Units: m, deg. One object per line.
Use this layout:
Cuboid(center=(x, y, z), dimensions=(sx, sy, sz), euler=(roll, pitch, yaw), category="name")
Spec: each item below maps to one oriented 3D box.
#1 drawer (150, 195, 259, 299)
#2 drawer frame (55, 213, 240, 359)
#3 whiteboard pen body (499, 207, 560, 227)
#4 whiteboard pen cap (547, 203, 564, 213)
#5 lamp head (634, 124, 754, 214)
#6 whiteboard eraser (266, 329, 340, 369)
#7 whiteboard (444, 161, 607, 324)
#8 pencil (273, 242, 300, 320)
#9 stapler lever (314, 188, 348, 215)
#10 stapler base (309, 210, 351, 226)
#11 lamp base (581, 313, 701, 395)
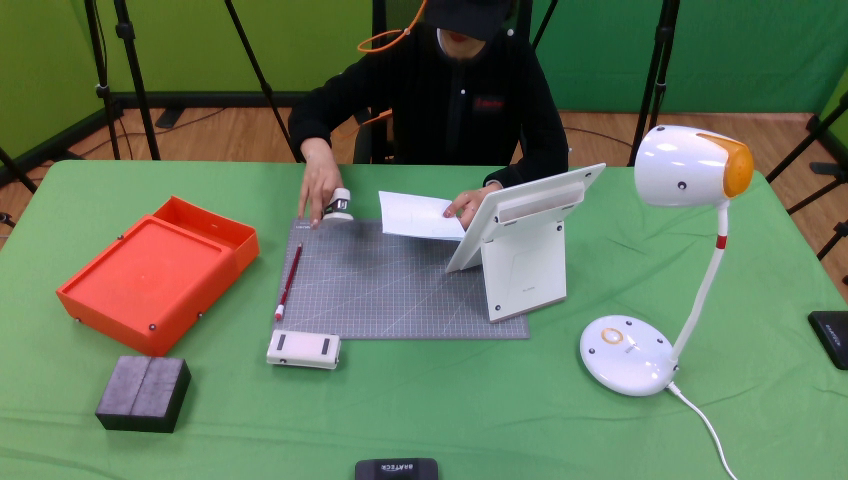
Cuboid(center=(-0.442, 0.033, 1.093), dimensions=(0.194, 0.073, 0.211), euler=(21, 49, 15), category="drawer")
Cuboid(center=(-0.469, 0.072, 1.050), dimensions=(0.201, 0.083, 0.213), euler=(21, 49, 14), category="drawer frame")
Cuboid(center=(0.222, -0.051, 1.260), dimensions=(0.141, 0.017, 0.017), euler=(-15, 49, -16), category="whiteboard pen body")
Cuboid(center=(0.277, -0.066, 1.275), dimensions=(0.033, 0.018, 0.018), euler=(-18, 50, -15), category="whiteboard pen cap")
Cuboid(center=(0.351, -0.089, 0.776), dimensions=(0.112, 0.113, 0.122), euler=(-30, 30, -28), category="lamp head")
Cuboid(center=(-0.198, 0.181, 0.994), dimensions=(0.113, 0.042, 0.055), euler=(5, 45, 1), category="whiteboard eraser")
Cuboid(center=(0.186, 0.025, 1.029), dimensions=(0.217, 0.306, 0.143), euler=(-15, 68, -18), category="whiteboard")
Cuboid(center=(-0.249, 0.071, 1.115), dimensions=(0.012, 0.012, 0.193), euler=(5, 43, 1), category="pencil")
Cuboid(center=(-0.177, -0.071, 1.150), dimensions=(0.027, 0.118, 0.040), euler=(10, 80, -29), category="stapler lever")
Cuboid(center=(-0.177, -0.045, 1.145), dimensions=(0.041, 0.130, 0.024), euler=(10, 80, -29), category="stapler base")
Cuboid(center=(0.361, 0.144, 0.973), dimensions=(0.178, 0.181, 0.160), euler=(34, 53, 23), category="lamp base")
